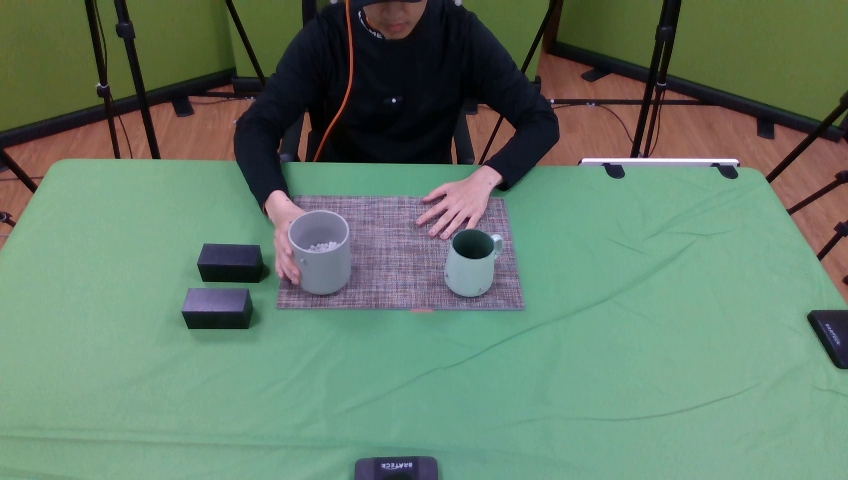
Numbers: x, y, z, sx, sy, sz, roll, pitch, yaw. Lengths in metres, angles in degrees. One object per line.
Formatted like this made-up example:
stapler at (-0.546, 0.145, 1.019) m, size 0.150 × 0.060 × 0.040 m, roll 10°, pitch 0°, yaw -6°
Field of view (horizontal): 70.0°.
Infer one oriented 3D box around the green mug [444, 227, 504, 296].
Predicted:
green mug at (0.097, 0.033, 1.110) m, size 0.125 × 0.105 × 0.092 m, roll -31°, pitch 55°, yaw -29°

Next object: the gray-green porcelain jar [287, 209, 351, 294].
gray-green porcelain jar at (-0.185, 0.026, 1.080) m, size 0.106 × 0.127 × 0.105 m, roll 2°, pitch 47°, yaw -2°
